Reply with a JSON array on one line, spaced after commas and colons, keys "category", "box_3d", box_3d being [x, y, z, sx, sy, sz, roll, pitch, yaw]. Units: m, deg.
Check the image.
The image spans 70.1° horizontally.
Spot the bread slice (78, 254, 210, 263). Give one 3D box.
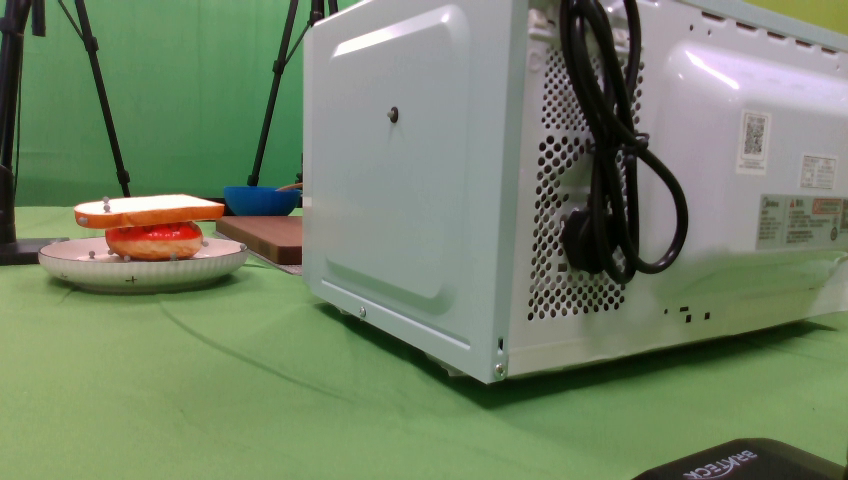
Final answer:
[{"category": "bread slice", "box_3d": [-0.302, 0.027, 0.662, 0.132, 0.019, 0.104, -4, 8, -45]}]

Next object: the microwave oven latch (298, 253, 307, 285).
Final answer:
[{"category": "microwave oven latch", "box_3d": [-0.081, 0.027, 0.582, 0.079, 0.029, 0.030, -1, 7, -32]}]

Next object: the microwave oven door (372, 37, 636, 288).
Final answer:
[{"category": "microwave oven door", "box_3d": [0.110, -0.080, 0.686, 0.358, 0.243, 0.039, -2, 9, -33]}]

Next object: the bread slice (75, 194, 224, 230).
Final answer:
[{"category": "bread slice", "box_3d": [-0.301, -0.032, 0.659, 0.106, 0.018, 0.135, 10, 16, 41]}]

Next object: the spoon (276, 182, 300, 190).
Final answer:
[{"category": "spoon", "box_3d": [-0.300, -0.102, 1.266, 0.194, 0.021, 0.041, -23, 11, -24]}]

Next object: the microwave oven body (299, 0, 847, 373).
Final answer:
[{"category": "microwave oven body", "box_3d": [0.151, -0.055, 0.542, 0.444, 0.260, 0.324, -2, 7, -33]}]

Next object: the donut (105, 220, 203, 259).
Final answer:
[{"category": "donut", "box_3d": [-0.297, -0.003, 0.669, 0.099, 0.048, 0.099, 3, -1, 0]}]

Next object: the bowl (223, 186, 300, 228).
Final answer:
[{"category": "bowl", "box_3d": [-0.330, -0.068, 1.230, 0.151, 0.077, 0.151, 3, 7, 0]}]

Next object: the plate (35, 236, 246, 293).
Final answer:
[{"category": "plate", "box_3d": [-0.305, 0.026, 0.668, 0.208, 0.039, 0.207, 2, 7, 0]}]
